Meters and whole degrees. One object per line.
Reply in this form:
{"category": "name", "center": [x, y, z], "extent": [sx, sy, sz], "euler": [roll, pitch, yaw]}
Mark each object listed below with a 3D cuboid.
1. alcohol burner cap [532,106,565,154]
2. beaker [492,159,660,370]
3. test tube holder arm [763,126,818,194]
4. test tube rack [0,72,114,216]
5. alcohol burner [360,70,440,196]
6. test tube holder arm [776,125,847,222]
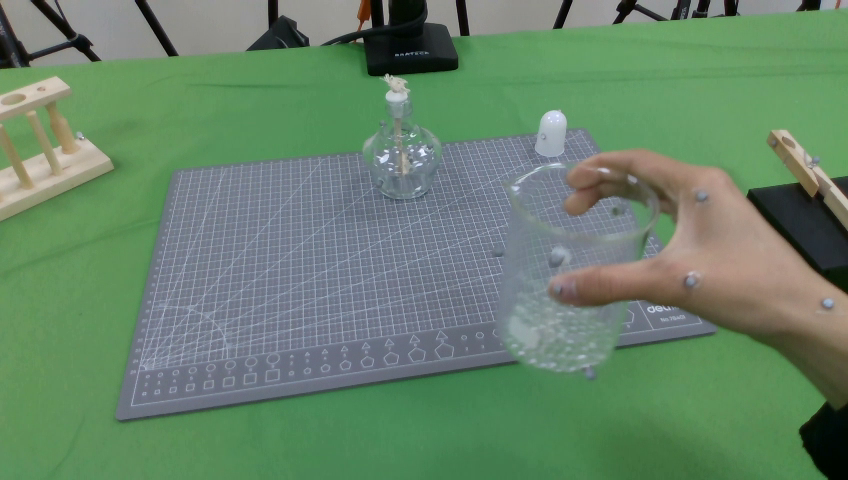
{"category": "alcohol burner cap", "center": [0.133, -0.120, 0.642], "extent": [0.034, 0.048, 0.033], "euler": [0, 43, 1]}
{"category": "beaker", "center": [0.075, 0.015, 0.335], "extent": [0.083, 0.101, 0.074], "euler": [22, 41, 24]}
{"category": "test tube holder arm", "center": [0.331, -0.073, 0.543], "extent": [0.010, 0.015, 0.087], "euler": [-10, 43, 2]}
{"category": "test tube rack", "center": [-0.435, -0.065, 0.564], "extent": [0.066, 0.086, 0.242], "euler": [33, 53, 31]}
{"category": "alcohol burner", "center": [-0.024, -0.103, 0.574], "extent": [0.078, 0.120, 0.077], "euler": [-2, 42, 2]}
{"category": "test tube holder arm", "center": [0.340, -0.044, 0.510], "extent": [0.013, 0.015, 0.176], "euler": [-10, 43, 2]}
